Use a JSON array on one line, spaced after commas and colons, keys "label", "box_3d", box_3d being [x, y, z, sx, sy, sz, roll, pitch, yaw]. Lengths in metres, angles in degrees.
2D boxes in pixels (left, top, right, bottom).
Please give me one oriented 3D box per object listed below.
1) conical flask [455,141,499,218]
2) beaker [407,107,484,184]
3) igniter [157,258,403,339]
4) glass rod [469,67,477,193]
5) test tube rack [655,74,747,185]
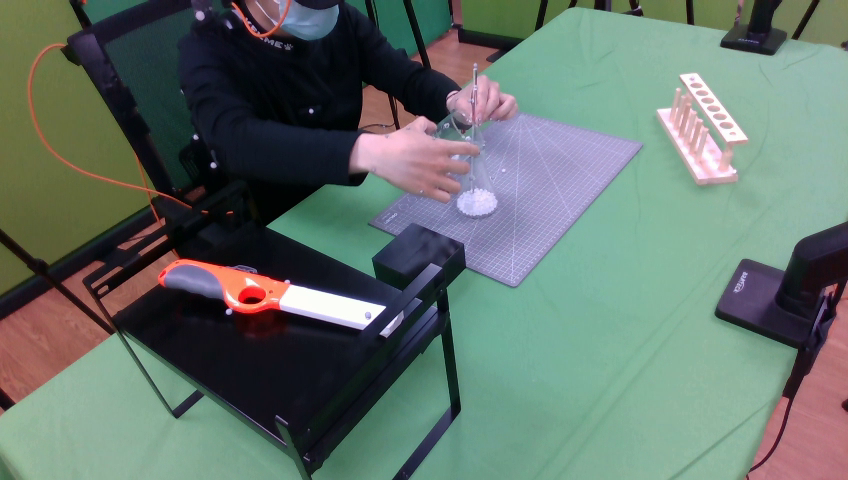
[{"label": "conical flask", "box_3d": [0.085, -0.103, 0.999, 0.075, 0.122, 0.075, -4, 41, 4]}, {"label": "beaker", "box_3d": [0.031, -0.138, 0.919, 0.100, 0.084, 0.073, -42, 44, -11]}, {"label": "igniter", "box_3d": [-0.157, 0.059, 0.638, 0.275, 0.025, 0.057, 11, 43, 14]}, {"label": "glass rod", "box_3d": [0.078, -0.173, 0.965, 0.008, 0.200, 0.008, 1, 18, 0]}, {"label": "test tube rack", "box_3d": [0.491, -0.205, 1.092, 0.067, 0.085, 0.241, -5, 40, 3]}]
